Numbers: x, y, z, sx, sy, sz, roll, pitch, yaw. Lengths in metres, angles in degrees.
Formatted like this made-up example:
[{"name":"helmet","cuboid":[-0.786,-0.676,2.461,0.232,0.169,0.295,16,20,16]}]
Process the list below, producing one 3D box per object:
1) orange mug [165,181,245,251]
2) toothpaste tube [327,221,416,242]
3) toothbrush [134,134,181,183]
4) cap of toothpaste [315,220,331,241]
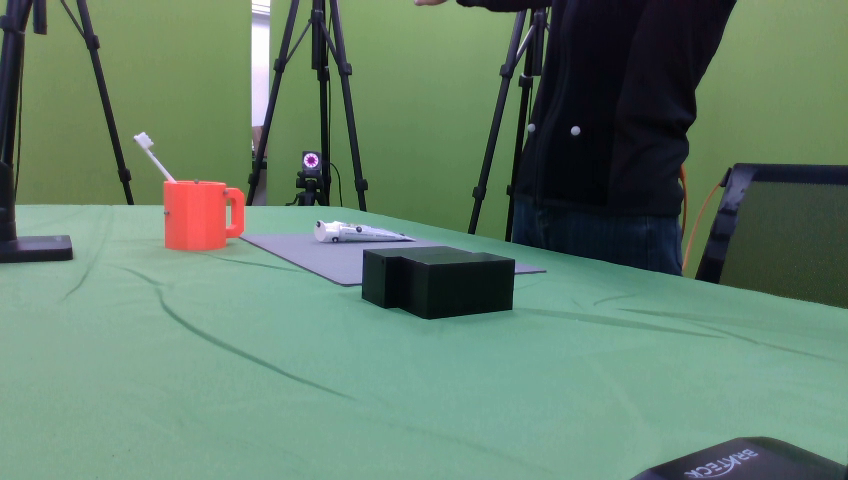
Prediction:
[{"name":"orange mug","cuboid":[-0.326,-0.040,0.911,0.083,0.101,0.127,8,14,37]},{"name":"toothpaste tube","cuboid":[-0.095,-0.013,1.026,0.166,0.034,0.055,2,13,-33]},{"name":"toothbrush","cuboid":[-0.348,-0.077,0.873,0.014,0.182,0.017,-15,28,46]},{"name":"cap of toothpaste","cuboid":[-0.164,-0.016,0.982,0.011,0.037,0.037,-8,12,-43]}]
